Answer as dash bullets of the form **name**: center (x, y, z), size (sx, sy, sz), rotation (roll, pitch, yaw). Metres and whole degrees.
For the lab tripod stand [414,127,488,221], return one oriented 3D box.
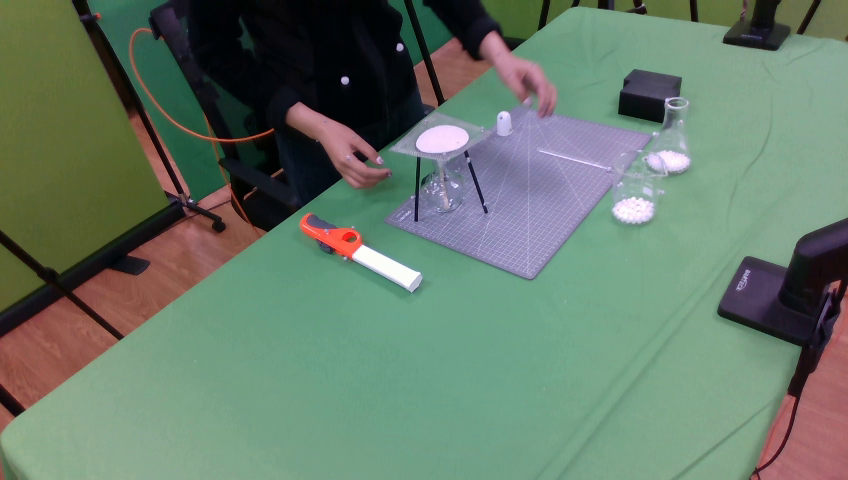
- **lab tripod stand**: center (0.035, -0.114, 1.021), size (0.148, 0.132, 0.147), rotation (-7, 39, 6)

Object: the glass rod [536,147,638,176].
- **glass rod**: center (0.294, -0.145, 1.104), size (0.198, 0.008, 0.008), rotation (22, 50, 31)

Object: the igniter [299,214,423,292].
- **igniter**: center (-0.112, 0.016, 0.983), size (0.274, 0.025, 0.057), rotation (26, 62, 35)

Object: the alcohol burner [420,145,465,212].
- **alcohol burner**: center (0.031, -0.108, 1.030), size (0.078, 0.119, 0.077), rotation (-5, 38, 4)

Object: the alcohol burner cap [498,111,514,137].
- **alcohol burner cap**: center (0.163, -0.235, 1.211), size (0.034, 0.048, 0.033), rotation (-6, 40, 6)

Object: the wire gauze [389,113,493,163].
- **wire gauze**: center (0.026, -0.164, 0.977), size (0.120, 0.011, 0.125), rotation (23, 49, 35)

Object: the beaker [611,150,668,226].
- **beaker**: center (0.337, -0.079, 0.953), size (0.083, 0.101, 0.074), rotation (25, 51, 33)

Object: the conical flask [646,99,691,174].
- **conical flask**: center (0.426, -0.180, 1.037), size (0.075, 0.122, 0.075), rotation (-5, 40, 5)
